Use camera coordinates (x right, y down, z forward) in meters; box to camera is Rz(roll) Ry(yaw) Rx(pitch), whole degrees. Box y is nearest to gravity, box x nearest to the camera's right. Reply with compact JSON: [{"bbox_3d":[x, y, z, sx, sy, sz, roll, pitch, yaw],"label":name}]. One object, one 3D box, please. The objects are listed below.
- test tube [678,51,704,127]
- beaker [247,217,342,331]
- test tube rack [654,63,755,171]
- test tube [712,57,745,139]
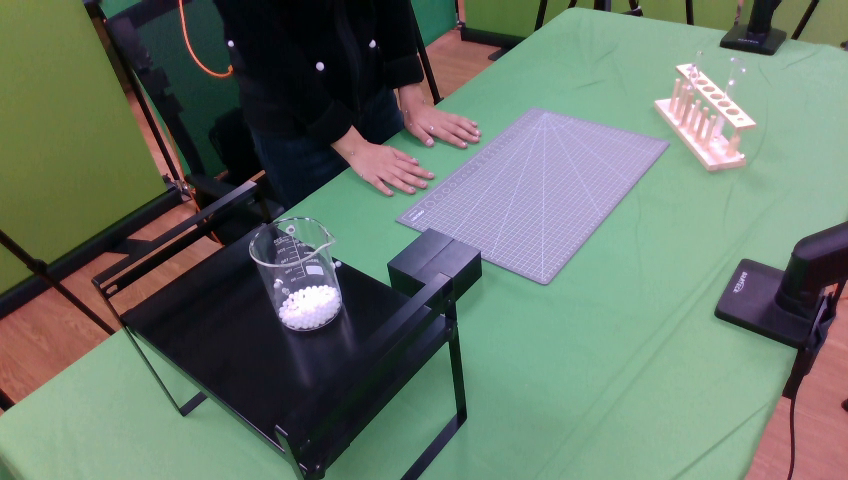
[{"bbox_3d":[0.486,-0.272,1.101,0.017,0.151,0.017,-3,42,3],"label":"test tube"},{"bbox_3d":[-0.124,0.037,0.614,0.084,0.101,0.073,-7,41,0],"label":"beaker"},{"bbox_3d":[0.510,-0.233,1.120,0.067,0.085,0.241,-8,41,-1],"label":"test tube rack"},{"bbox_3d":[0.529,-0.244,1.054,0.017,0.151,0.017,-1,39,1],"label":"test tube"}]
